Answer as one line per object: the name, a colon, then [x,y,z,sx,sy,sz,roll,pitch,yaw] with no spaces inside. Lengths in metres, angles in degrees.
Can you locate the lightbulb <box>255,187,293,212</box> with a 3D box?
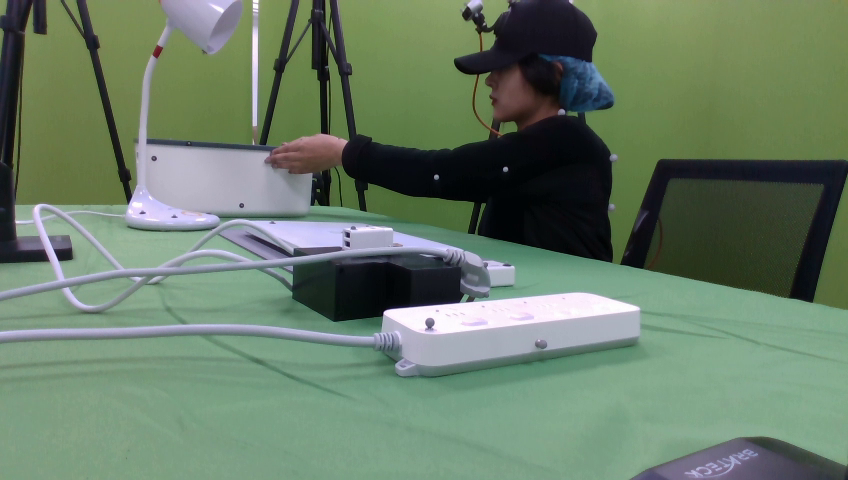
lightbulb: [-0.365,-0.093,1.487,0.059,0.059,0.108,8,-10,41]

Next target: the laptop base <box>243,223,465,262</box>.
laptop base: [-0.126,0.003,0.946,0.237,0.023,0.352,2,6,-31]

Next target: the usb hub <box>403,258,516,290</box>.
usb hub: [0.042,0.038,0.690,0.126,0.025,0.049,-2,9,-30]

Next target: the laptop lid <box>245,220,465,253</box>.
laptop lid: [-0.124,-0.009,0.945,0.243,0.013,0.355,1,7,-29]

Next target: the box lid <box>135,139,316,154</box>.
box lid: [-0.463,-0.215,1.404,0.373,0.015,0.262,-1,8,-29]

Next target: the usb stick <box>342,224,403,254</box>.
usb stick: [-0.047,-0.001,0.567,0.059,0.027,0.021,0,5,-32]

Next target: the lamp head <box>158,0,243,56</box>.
lamp head: [-0.399,-0.397,1.057,0.123,0.112,0.112,27,5,-7]

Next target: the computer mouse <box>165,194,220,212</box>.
computer mouse: [-0.530,-0.083,1.387,0.118,0.041,0.062,2,3,-30]

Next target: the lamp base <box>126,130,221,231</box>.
lamp base: [-0.469,-0.112,1.108,0.179,0.180,0.160,0,7,3]

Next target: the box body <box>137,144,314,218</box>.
box body: [-0.464,-0.141,1.414,0.366,0.160,0.253,-2,8,-29]

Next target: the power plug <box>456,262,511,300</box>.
power plug: [0.051,0.051,0.543,0.035,0.052,0.072,6,37,-19]

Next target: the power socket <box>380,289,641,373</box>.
power socket: [0.072,0.064,0.461,0.228,0.032,0.072,-2,8,-30]
